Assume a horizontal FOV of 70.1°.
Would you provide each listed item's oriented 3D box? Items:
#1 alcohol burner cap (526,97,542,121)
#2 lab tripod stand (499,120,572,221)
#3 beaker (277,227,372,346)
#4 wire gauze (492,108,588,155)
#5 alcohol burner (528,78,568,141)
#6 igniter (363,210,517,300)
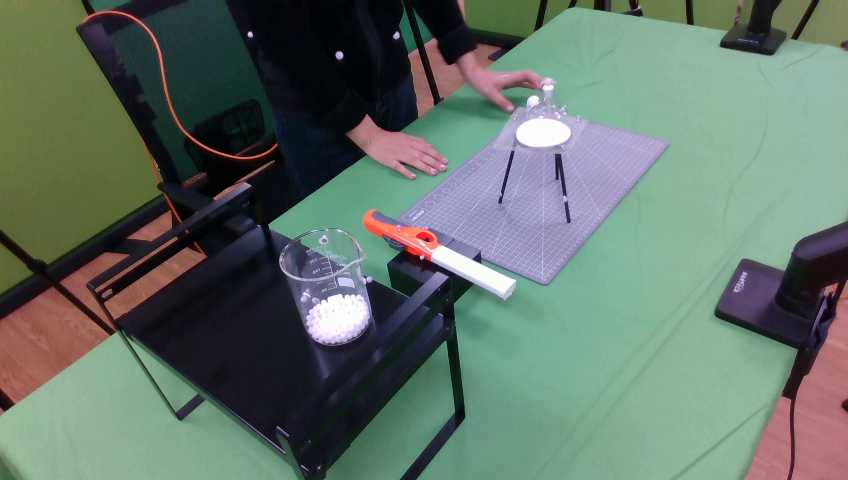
[{"bbox_3d":[0.226,-0.272,1.243,0.034,0.048,0.033,-6,43,6],"label":"alcohol burner cap"},{"bbox_3d":[0.198,-0.117,0.992,0.148,0.132,0.147,-3,40,3],"label":"lab tripod stand"},{"bbox_3d":[-0.090,0.048,0.593,0.084,0.101,0.073,-3,41,5],"label":"beaker"},{"bbox_3d":[0.185,-0.170,0.953,0.121,0.011,0.125,13,44,22],"label":"wire gauze"},{"bbox_3d":[0.238,-0.253,1.163,0.078,0.119,0.077,-6,40,6],"label":"alcohol burner"},{"bbox_3d":[0.012,0.015,0.880,0.274,0.025,0.057,26,48,30],"label":"igniter"}]
